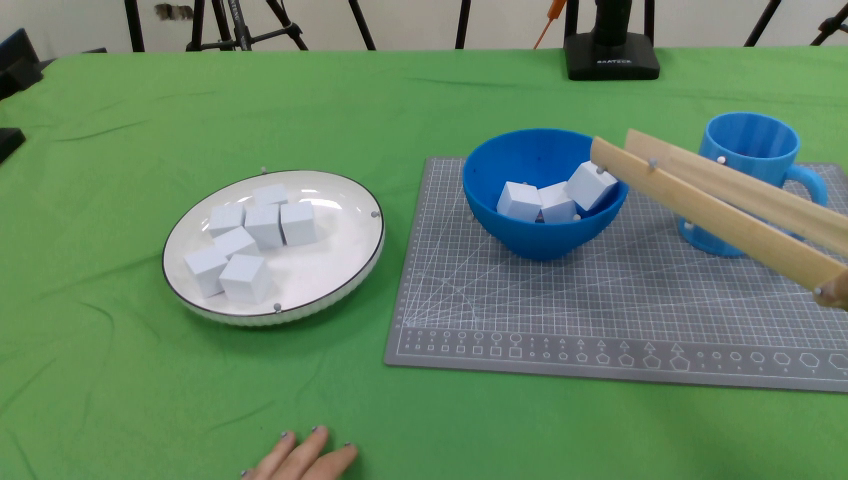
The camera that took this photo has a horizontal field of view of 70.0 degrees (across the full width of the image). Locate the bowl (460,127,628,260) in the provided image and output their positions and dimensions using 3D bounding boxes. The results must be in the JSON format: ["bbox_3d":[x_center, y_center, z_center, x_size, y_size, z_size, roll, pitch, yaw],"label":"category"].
[{"bbox_3d":[0.110,-0.034,0.574,0.151,0.077,0.150,-2,42,3],"label":"bowl"}]

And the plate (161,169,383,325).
[{"bbox_3d":[-0.142,0.006,0.586,0.209,0.038,0.207,-2,42,2],"label":"plate"}]

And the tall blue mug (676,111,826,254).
[{"bbox_3d":[0.296,-0.048,0.549,0.107,0.109,0.077,10,44,16],"label":"tall blue mug"}]

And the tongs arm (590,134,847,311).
[{"bbox_3d":[0.234,0.006,0.370,0.051,0.027,0.380,-9,31,-20],"label":"tongs arm"}]

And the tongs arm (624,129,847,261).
[{"bbox_3d":[0.257,0.001,0.379,0.028,0.028,0.383,-8,31,-25],"label":"tongs arm"}]
